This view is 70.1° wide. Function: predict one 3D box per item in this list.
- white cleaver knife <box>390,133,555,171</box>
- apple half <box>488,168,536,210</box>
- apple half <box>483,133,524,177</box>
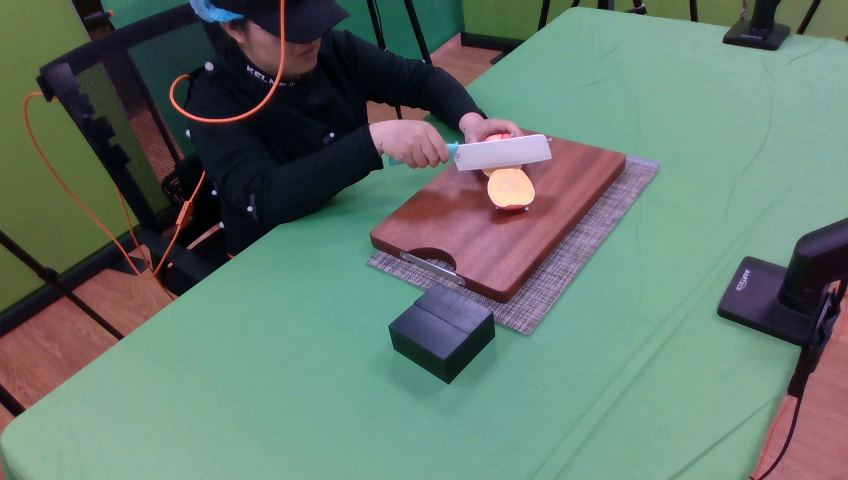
[{"bbox_3d":[0.075,-0.141,1.024,0.285,0.066,0.021,-2,45,19],"label":"white cleaver knife"},{"bbox_3d":[0.142,-0.080,0.995,0.081,0.033,0.081,1,62,-2],"label":"apple half"},{"bbox_3d":[0.139,-0.151,1.055,0.080,0.075,0.053,1,37,18],"label":"apple half"}]
